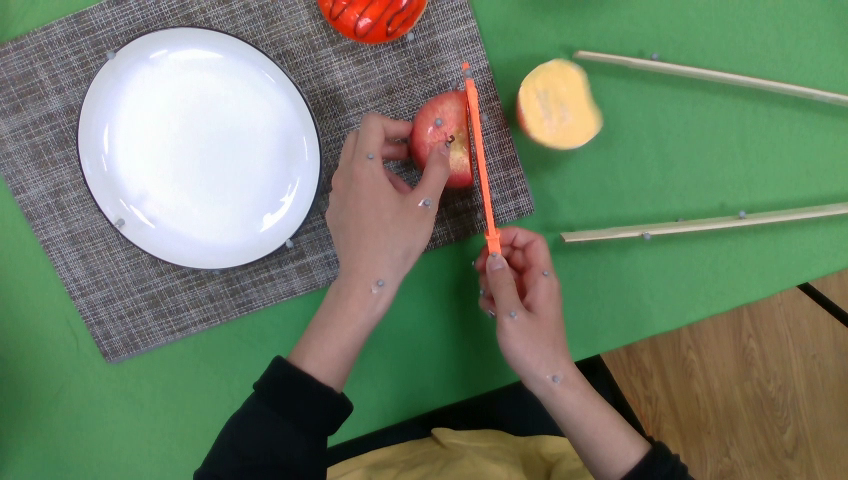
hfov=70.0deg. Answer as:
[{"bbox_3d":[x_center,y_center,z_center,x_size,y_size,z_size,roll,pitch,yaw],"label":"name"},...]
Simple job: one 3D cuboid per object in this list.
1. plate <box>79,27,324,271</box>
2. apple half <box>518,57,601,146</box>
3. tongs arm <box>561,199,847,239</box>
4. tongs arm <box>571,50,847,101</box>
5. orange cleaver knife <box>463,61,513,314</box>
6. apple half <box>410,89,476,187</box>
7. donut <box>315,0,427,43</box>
[{"bbox_3d":[-0.190,-0.077,0.533,0.209,0.038,0.210,0,106,0],"label":"plate"},{"bbox_3d":[0.109,-0.113,0.521,0.082,0.032,0.081,3,81,-20],"label":"apple half"},{"bbox_3d":[0.318,-0.042,0.554,0.385,0.026,0.051,-5,102,0],"label":"tongs arm"},{"bbox_3d":[0.319,-0.126,0.533,0.388,0.027,0.028,10,97,-4],"label":"tongs arm"},{"bbox_3d":[0.053,-0.041,0.511,0.012,0.076,0.213,-10,112,5],"label":"orange cleaver knife"},{"bbox_3d":[0.015,-0.085,0.515,0.053,0.074,0.081,-6,110,9],"label":"apple half"},{"bbox_3d":[-0.044,-0.212,0.493,0.099,0.048,0.099,0,107,1],"label":"donut"}]
